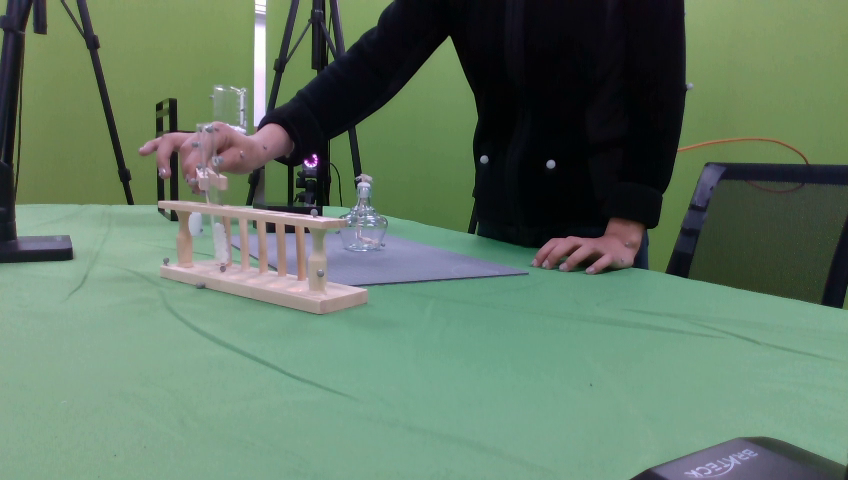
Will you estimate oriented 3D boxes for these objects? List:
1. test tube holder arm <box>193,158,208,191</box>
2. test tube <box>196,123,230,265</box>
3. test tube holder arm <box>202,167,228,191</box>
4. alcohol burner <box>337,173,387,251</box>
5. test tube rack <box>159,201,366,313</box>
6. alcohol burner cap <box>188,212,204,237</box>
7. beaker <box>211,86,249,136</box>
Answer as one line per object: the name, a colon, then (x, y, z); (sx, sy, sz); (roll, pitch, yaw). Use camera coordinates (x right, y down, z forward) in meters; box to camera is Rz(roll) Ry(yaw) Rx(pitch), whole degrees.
test tube holder arm: (-0.260, -0.079, 0.701); (0.013, 0.015, 0.177); (-1, 14, -24)
test tube: (-0.217, -0.045, 0.624); (0.017, 0.150, 0.017); (-1, 19, 1)
test tube holder arm: (-0.234, -0.068, 0.666); (0.010, 0.015, 0.087); (-5, 17, -35)
alcohol burner: (-0.095, -0.043, 0.926); (0.078, 0.119, 0.078); (3, 6, 0)
test tube rack: (-0.173, 0.009, 0.624); (0.241, 0.085, 0.067); (7, 9, 34)
alcohol burner cap: (-0.390, -0.029, 1.025); (0.034, 0.048, 0.034); (2, 8, 0)
beaker: (-0.413, -0.274, 1.297); (0.074, 0.100, 0.083); (-5, 11, -44)
